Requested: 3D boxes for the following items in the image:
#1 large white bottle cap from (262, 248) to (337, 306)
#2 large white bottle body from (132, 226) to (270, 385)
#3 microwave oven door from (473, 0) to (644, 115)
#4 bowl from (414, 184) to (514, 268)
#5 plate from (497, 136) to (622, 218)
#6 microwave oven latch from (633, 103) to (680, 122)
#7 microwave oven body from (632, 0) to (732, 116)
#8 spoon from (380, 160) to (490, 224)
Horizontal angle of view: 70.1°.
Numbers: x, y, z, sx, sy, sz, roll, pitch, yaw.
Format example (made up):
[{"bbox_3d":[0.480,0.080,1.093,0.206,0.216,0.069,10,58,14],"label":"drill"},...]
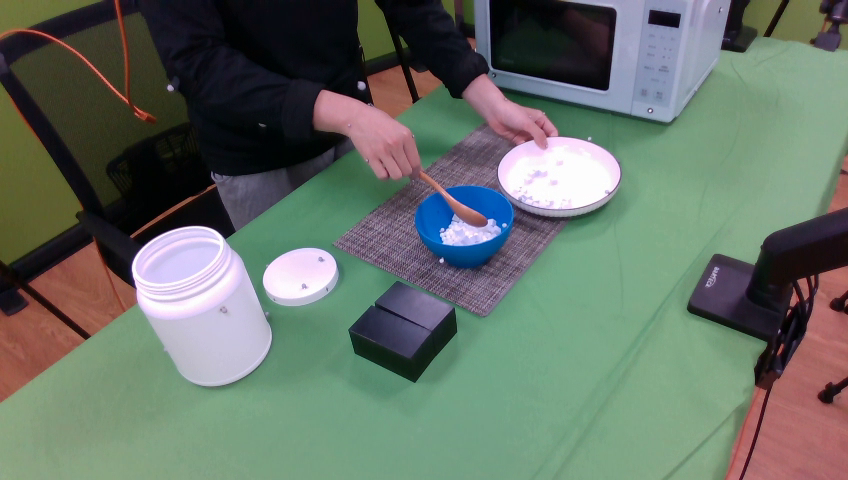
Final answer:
[{"bbox_3d":[-0.193,0.056,0.934,0.115,0.018,0.114,-4,41,4],"label":"large white bottle cap"},{"bbox_3d":[-0.286,0.085,0.783,0.130,0.185,0.130,-4,41,4],"label":"large white bottle body"},{"bbox_3d":[0.257,-0.396,1.199,0.353,0.245,0.039,21,48,29],"label":"microwave oven door"},{"bbox_3d":[0.063,-0.010,0.922,0.151,0.077,0.150,-4,40,4],"label":"bowl"},{"bbox_3d":[0.229,-0.105,1.036,0.209,0.038,0.208,-3,43,3],"label":"plate"},{"bbox_3d":[0.443,-0.249,1.157,0.078,0.029,0.030,21,48,30],"label":"microwave oven latch"},{"bbox_3d":[0.377,-0.463,1.267,0.438,0.261,0.327,21,49,30],"label":"microwave oven body"},{"bbox_3d":[0.014,-0.073,0.907,0.193,0.042,0.021,34,84,15],"label":"spoon"}]
